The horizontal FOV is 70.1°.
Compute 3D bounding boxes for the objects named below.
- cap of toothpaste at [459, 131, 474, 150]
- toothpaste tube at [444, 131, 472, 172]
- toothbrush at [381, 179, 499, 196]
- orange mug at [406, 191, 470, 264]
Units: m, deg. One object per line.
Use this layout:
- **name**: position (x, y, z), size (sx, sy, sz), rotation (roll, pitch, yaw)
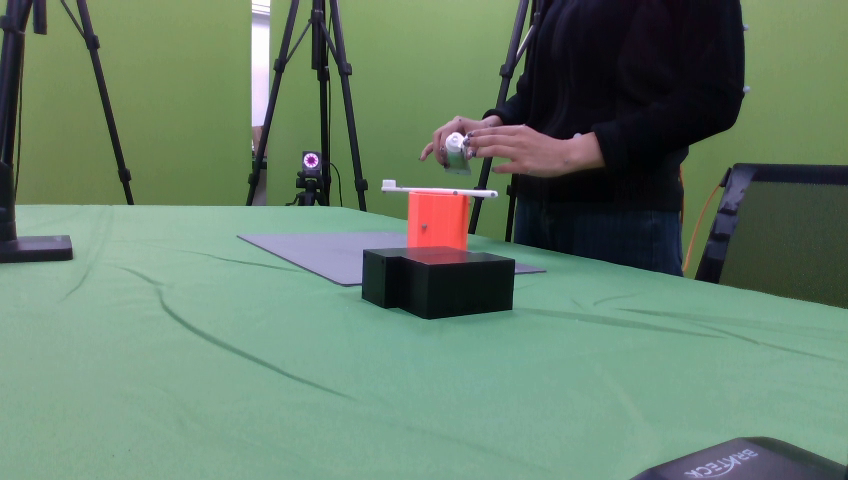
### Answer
- **cap of toothpaste**: position (0.070, -0.166, 1.003), size (0.011, 0.037, 0.037), rotation (34, 13, 9)
- **toothpaste tube**: position (0.062, -0.154, 1.093), size (0.055, 0.034, 0.165), rotation (11, -12, 6)
- **toothbrush**: position (0.019, -0.073, 0.841), size (0.181, 0.016, 0.014), rotation (6, 3, 27)
- **orange mug**: position (0.027, -0.023, 0.866), size (0.083, 0.101, 0.126), rotation (6, 12, 24)
